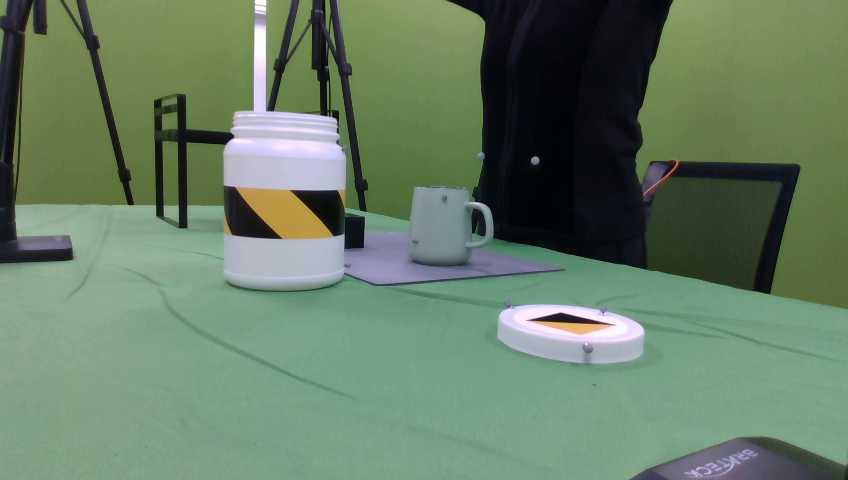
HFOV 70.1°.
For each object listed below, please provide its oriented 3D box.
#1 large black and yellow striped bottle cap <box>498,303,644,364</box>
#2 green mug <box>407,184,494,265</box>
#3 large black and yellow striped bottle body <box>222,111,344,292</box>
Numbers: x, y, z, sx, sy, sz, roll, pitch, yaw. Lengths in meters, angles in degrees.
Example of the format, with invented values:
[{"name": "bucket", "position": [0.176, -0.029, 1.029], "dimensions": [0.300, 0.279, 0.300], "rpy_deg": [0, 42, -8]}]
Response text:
[{"name": "large black and yellow striped bottle cap", "position": [0.117, 0.072, 0.486], "dimensions": [0.115, 0.019, 0.115], "rpy_deg": [1, 8, 0]}, {"name": "green mug", "position": [0.038, -0.021, 0.827], "dimensions": [0.125, 0.105, 0.093], "rpy_deg": [6, 8, 30]}, {"name": "large black and yellow striped bottle body", "position": [-0.153, -0.045, 0.667], "dimensions": [0.131, 0.184, 0.130], "rpy_deg": [2, 8, 0]}]
